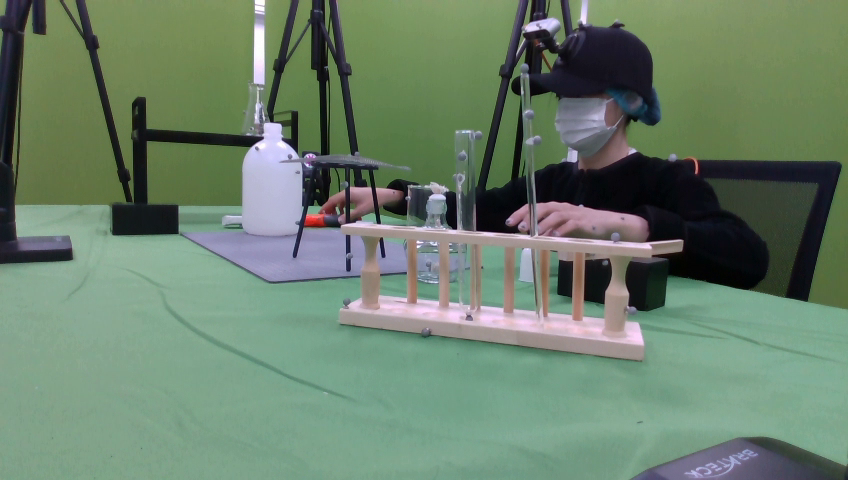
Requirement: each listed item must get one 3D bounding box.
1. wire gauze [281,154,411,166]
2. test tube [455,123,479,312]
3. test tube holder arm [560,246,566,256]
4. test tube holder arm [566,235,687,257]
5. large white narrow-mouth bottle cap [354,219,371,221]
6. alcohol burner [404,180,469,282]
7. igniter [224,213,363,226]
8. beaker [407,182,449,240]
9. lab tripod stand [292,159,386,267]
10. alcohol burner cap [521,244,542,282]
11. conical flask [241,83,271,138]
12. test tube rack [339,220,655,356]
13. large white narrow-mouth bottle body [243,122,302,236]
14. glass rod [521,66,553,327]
[{"bbox_3d":[-0.102,-0.105,0.785,0.121,0.011,0.126,7,8,43],"label":"wire gauze"},{"bbox_3d":[0.034,-0.016,0.476,0.017,0.150,0.017,-2,10,1],"label":"test tube"},{"bbox_3d":[0.173,0.007,0.611,0.088,0.015,0.010,-3,9,-30],"label":"test tube holder arm"},{"bbox_3d":[0.215,0.006,0.630,0.179,0.015,0.013,-3,9,-30],"label":"test tube holder arm"},{"bbox_3d":[-0.120,-0.029,1.184,0.038,0.024,0.037,2,8,0],"label":"large white narrow-mouth bottle cap"},{"bbox_3d":[0.015,-0.011,0.715,0.078,0.119,0.078,0,7,0],"label":"alcohol burner"},{"bbox_3d":[-0.255,-0.041,1.210,0.278,0.025,0.057,-2,-2,-31],"label":"igniter"},{"bbox_3d":[0.008,-0.053,1.102,0.074,0.100,0.083,-6,12,-43],"label":"beaker"},{"bbox_3d":[-0.105,-0.039,0.797,0.148,0.131,0.148,2,5,0],"label":"lab tripod stand"},{"bbox_3d":[0.136,0.026,0.741,0.034,0.048,0.034,1,6,0],"label":"alcohol burner cap"},{"bbox_3d":[-0.384,-0.297,1.393,0.075,0.122,0.075,2,7,0],"label":"conical flask"},{"bbox_3d":[0.056,0.032,0.495,0.242,0.085,0.067,4,7,15],"label":"test tube rack"},{"bbox_3d":[-0.264,-0.109,1.061,0.102,0.194,0.102,2,8,0],"label":"large white narrow-mouth bottle body"},{"bbox_3d":[0.085,-0.028,0.454,0.008,0.199,0.008,-7,10,2],"label":"glass rod"}]
